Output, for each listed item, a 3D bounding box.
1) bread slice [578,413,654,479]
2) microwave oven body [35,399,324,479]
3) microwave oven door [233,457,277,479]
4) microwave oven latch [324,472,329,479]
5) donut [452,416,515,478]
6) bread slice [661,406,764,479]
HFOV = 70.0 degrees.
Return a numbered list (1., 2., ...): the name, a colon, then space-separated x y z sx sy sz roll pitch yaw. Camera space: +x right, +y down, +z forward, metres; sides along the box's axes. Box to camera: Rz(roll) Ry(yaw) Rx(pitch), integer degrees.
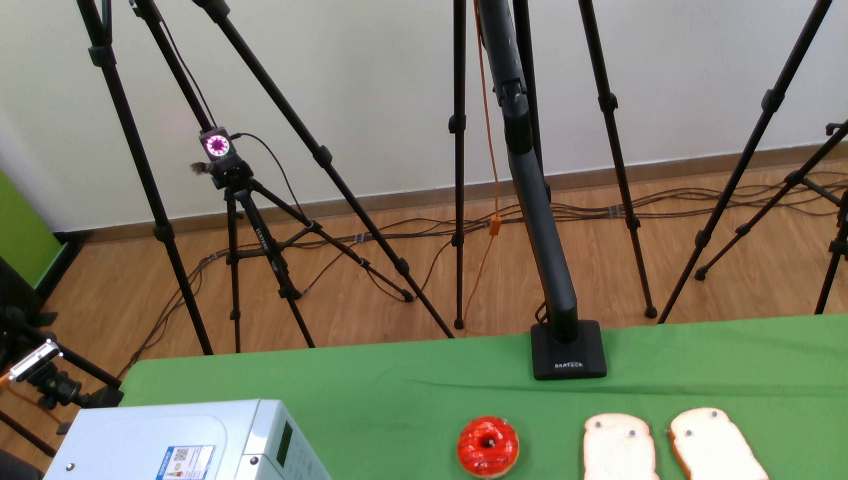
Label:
1. bread slice: 0.277 0.318 0.892 0.107 0.018 0.133 -5 43 11
2. microwave oven body: -0.337 0.455 0.737 0.325 0.263 0.437 -6 43 10
3. microwave oven door: -0.198 0.464 0.678 0.039 0.246 0.352 -7 42 10
4. microwave oven latch: -0.162 0.389 0.904 0.030 0.030 0.078 -5 43 10
5. donut: 0.091 0.317 0.930 0.099 0.049 0.098 -10 41 10
6. bread slice: 0.405 0.301 0.873 0.105 0.019 0.130 -14 42 0
